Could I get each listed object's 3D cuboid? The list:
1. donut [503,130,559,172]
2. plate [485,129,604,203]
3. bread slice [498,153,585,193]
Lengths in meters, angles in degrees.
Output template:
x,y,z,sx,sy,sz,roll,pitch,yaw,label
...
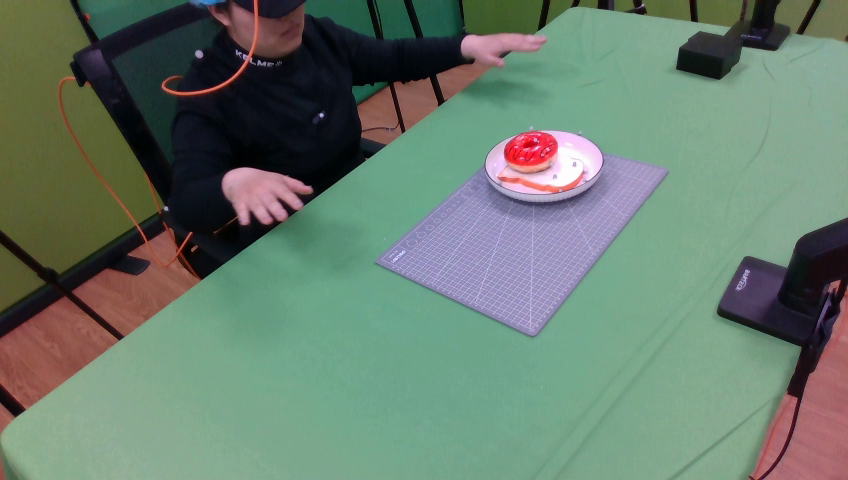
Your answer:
x,y,z,sx,sy,sz,roll,pitch,yaw,label
0.190,-0.158,1.076,0.099,0.048,0.098,-8,40,8,donut
0.213,-0.129,1.079,0.209,0.038,0.208,-5,40,5,plate
0.215,-0.125,1.076,0.133,0.018,0.107,16,48,28,bread slice
